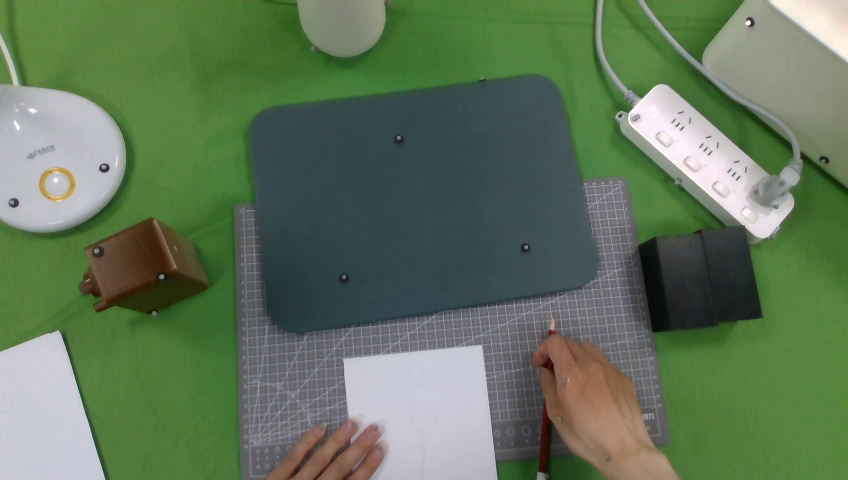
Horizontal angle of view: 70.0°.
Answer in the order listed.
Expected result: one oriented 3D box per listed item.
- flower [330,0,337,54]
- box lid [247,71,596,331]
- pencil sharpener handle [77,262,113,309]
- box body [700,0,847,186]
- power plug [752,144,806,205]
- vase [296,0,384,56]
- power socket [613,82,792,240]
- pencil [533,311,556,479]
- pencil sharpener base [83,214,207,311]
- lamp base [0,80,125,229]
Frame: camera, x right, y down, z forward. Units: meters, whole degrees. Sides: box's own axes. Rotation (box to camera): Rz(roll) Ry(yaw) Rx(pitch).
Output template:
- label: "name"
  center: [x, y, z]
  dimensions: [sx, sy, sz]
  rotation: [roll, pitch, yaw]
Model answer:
- label: "flower"
  center: [-0.079, -0.311, 0.555]
  dimensions: [0.044, 0.364, 0.038]
  rotation: [-31, 69, -25]
- label: "box lid"
  center: [-0.002, -0.051, 0.685]
  dimensions: [0.372, 0.015, 0.262]
  rotation: [-9, 79, -5]
- label: "pencil sharpener handle"
  center: [-0.319, 0.049, 0.585]
  dimensions: [0.030, 0.068, 0.035]
  rotation: [-25, 68, -7]
- label: "box body"
  center: [0.532, -0.205, 0.670]
  dimensions: [0.363, 0.161, 0.254]
  rotation: [41, 79, 5]
- label: "power plug"
  center: [0.399, -0.067, 0.677]
  dimensions: [0.072, 0.053, 0.035]
  rotation: [-34, 79, -14]
- label: "vase"
  center: [-0.091, -0.279, 0.632]
  dimensions: [0.098, 0.200, 0.097]
  rotation: [1, 77, -4]
- label: "power socket"
  center: [0.323, -0.092, 0.702]
  dimensions: [0.226, 0.033, 0.072]
  rotation: [44, 79, 6]
- label: "pencil"
  center: [0.129, 0.172, 0.643]
  dimensions: [0.012, 0.012, 0.193]
  rotation: [7, 81, -1]
- label: "pencil sharpener base"
  center: [-0.276, 0.027, 0.605]
  dimensions: [0.077, 0.107, 0.061]
  rotation: [-25, 81, -7]
- label: "lamp base"
  center: [-0.414, -0.116, 0.589]
  dimensions: [0.160, 0.181, 0.178]
  rotation: [-36, 80, -10]
